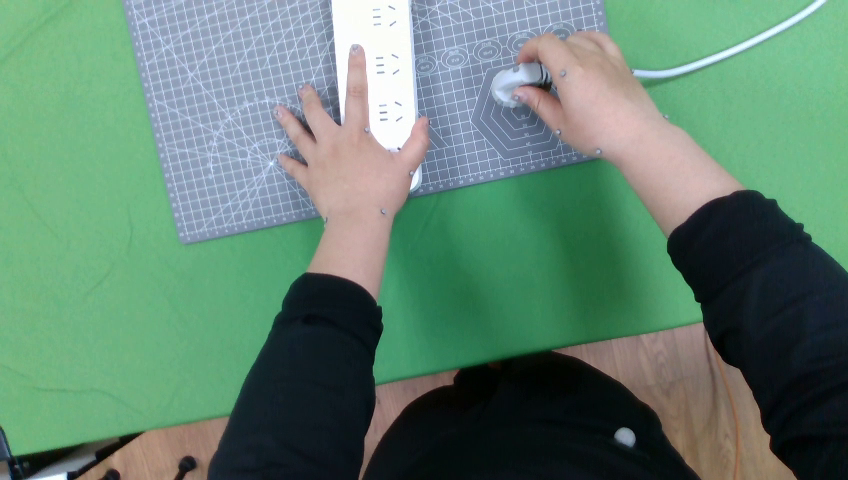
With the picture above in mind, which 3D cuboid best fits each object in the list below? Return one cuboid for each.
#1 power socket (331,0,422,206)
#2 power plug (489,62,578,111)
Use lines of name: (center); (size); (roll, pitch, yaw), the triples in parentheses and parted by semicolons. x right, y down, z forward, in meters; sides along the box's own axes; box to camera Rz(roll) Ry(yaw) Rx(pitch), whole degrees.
power socket: (-0.044, -0.146, 0.568); (0.072, 0.032, 0.227); (-4, 95, 4)
power plug: (0.094, -0.131, 0.536); (0.072, 0.053, 0.035); (8, 72, 1)
